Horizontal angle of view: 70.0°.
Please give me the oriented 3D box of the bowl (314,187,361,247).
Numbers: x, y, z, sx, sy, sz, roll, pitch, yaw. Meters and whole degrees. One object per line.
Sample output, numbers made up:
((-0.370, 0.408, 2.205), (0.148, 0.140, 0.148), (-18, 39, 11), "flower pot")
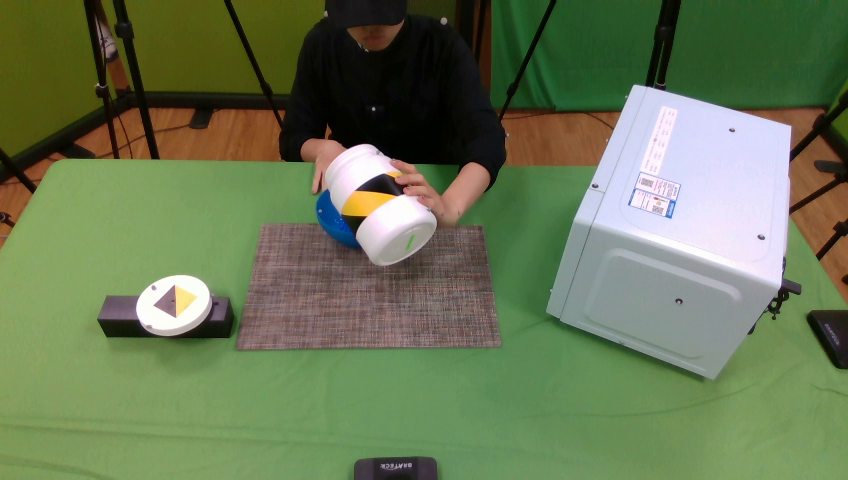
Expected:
((-0.136, -0.039, 1.180), (0.151, 0.077, 0.150), (2, 46, -2), "bowl")

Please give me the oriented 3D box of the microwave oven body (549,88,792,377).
((0.456, -0.028, 1.088), (0.325, 0.261, 0.440), (20, 47, 16), "microwave oven body")

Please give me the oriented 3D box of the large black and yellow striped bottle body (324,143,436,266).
((-0.079, -0.063, 1.033), (0.131, 0.131, 0.183), (-26, 68, -26), "large black and yellow striped bottle body")

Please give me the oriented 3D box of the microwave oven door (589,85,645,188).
((0.341, -0.107, 1.149), (0.039, 0.245, 0.354), (20, 48, 15), "microwave oven door")

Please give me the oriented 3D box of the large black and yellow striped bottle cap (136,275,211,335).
((-0.412, 0.105, 0.999), (0.115, 0.019, 0.114), (3, 46, -3), "large black and yellow striped bottle cap")

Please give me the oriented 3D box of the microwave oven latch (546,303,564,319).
((0.242, 0.102, 1.081), (0.030, 0.029, 0.079), (21, 48, 17), "microwave oven latch")
